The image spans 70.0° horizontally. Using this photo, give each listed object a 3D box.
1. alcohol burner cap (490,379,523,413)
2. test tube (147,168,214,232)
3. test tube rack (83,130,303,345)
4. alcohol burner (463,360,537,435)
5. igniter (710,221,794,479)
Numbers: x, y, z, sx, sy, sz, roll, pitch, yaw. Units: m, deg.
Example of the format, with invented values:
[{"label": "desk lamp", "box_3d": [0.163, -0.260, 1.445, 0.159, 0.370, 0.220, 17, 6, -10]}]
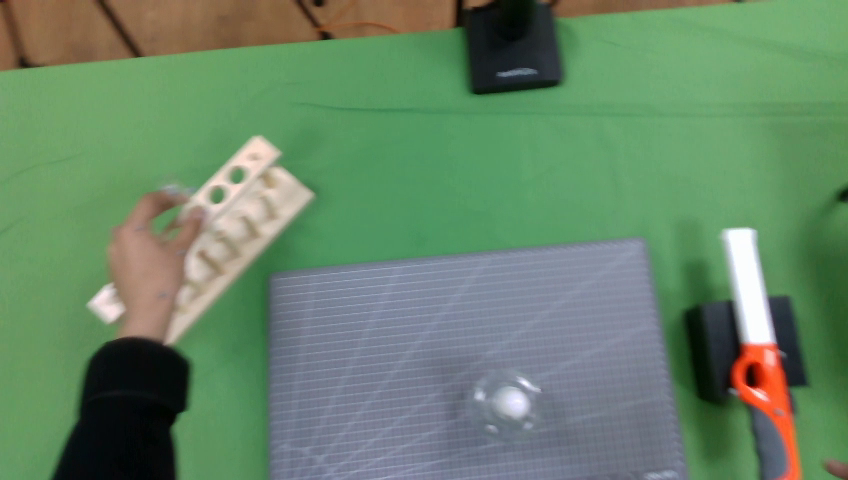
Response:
[{"label": "alcohol burner cap", "box_3d": [0.082, 0.152, 0.588, 0.034, 0.048, 0.033, -1, 78, 4]}, {"label": "test tube", "box_3d": [-0.251, -0.038, 0.636, 0.017, 0.151, 0.017, 0, 72, 0]}, {"label": "test tube rack", "box_3d": [-0.248, -0.001, 0.677, 0.066, 0.085, 0.242, 38, 78, 9]}, {"label": "alcohol burner", "box_3d": [0.081, 0.161, 0.622, 0.078, 0.119, 0.077, 1, 73, -2]}, {"label": "igniter", "box_3d": [0.343, 0.112, 0.637, 0.057, 0.025, 0.275, -3, 73, 1]}]
